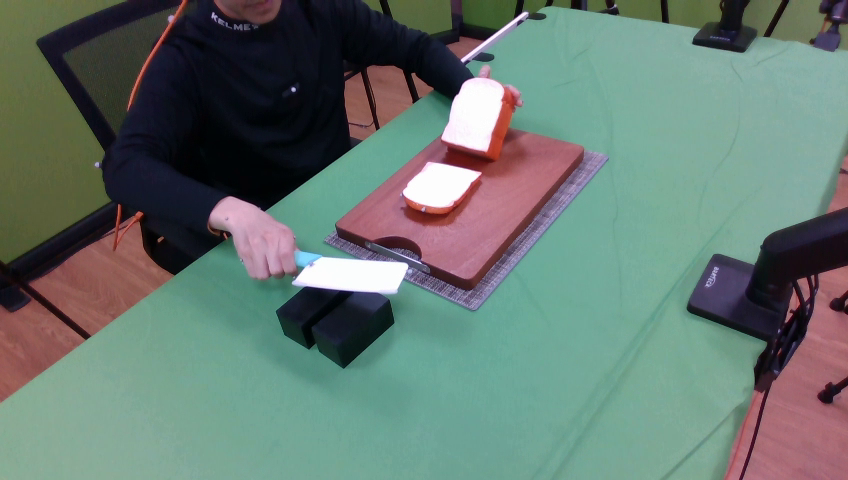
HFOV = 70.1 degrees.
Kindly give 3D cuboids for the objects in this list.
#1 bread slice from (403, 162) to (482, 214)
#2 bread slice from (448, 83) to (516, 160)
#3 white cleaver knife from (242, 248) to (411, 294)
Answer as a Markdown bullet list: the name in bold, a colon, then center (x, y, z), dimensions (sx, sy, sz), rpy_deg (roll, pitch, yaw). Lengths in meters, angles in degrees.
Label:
- **bread slice**: center (0.024, -0.087, 1.020), dimensions (0.104, 0.019, 0.132), rpy_deg (16, 40, 23)
- **bread slice**: center (0.111, -0.220, 1.106), dimensions (0.106, 0.018, 0.134), rpy_deg (24, 92, 31)
- **white cleaver knife**: center (-0.146, 0.040, 0.826), dimensions (0.284, 0.021, 0.066), rpy_deg (3, 39, 31)
